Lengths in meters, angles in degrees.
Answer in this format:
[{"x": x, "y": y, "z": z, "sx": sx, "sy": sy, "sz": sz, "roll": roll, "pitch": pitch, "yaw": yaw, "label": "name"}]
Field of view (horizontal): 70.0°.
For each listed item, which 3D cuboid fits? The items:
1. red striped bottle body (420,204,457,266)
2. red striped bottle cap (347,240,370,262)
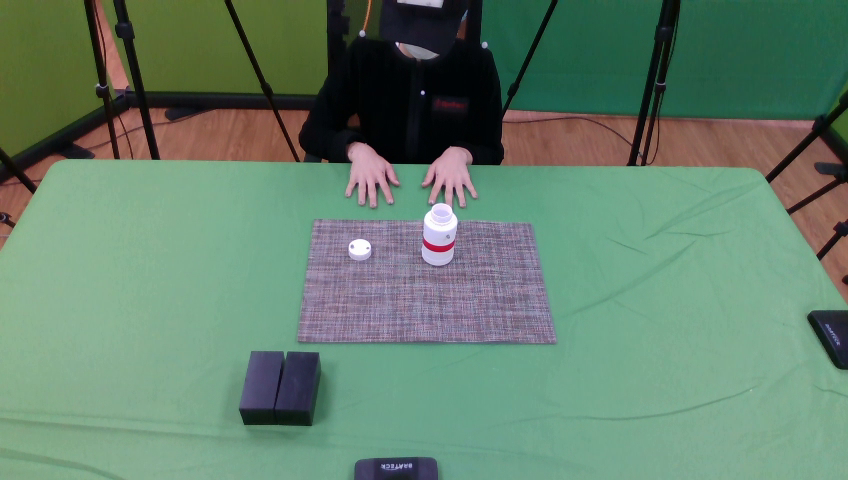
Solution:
[{"x": 0.027, "y": -0.011, "z": 1.139, "sx": 0.063, "sy": 0.120, "sz": 0.062, "roll": 3, "pitch": 45, "yaw": -3, "label": "red striped bottle body"}, {"x": -0.127, "y": 0.020, "z": 1.169, "sx": 0.044, "sy": 0.018, "sz": 0.044, "roll": 2, "pitch": 49, "yaw": -2, "label": "red striped bottle cap"}]
